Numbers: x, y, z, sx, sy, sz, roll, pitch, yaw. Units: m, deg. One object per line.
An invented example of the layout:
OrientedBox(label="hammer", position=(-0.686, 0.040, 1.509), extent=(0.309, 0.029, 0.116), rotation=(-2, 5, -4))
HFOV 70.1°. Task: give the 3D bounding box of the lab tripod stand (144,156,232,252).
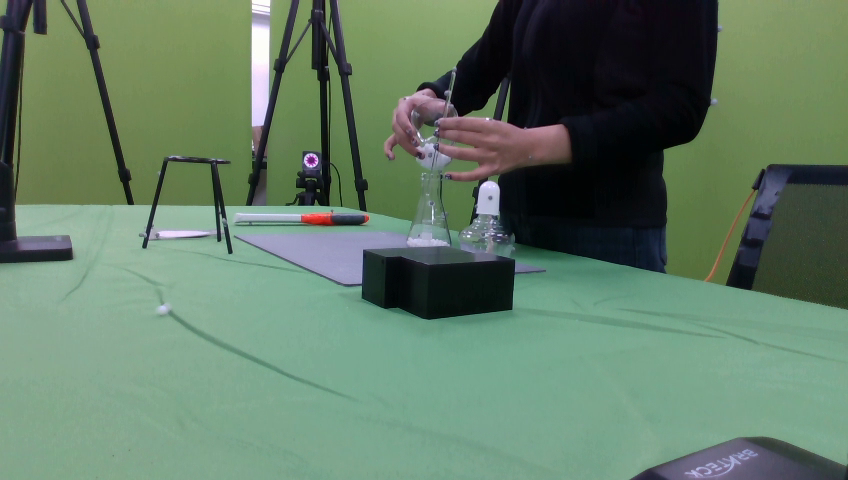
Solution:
OrientedBox(label="lab tripod stand", position=(-0.325, -0.054, 0.881), extent=(0.148, 0.131, 0.148), rotation=(4, 7, 0))

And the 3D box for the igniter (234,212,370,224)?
OrientedBox(label="igniter", position=(-0.247, -0.046, 1.253), extent=(0.278, 0.025, 0.057), rotation=(-1, -3, -27))

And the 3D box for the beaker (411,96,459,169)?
OrientedBox(label="beaker", position=(0.015, -0.167, 0.974), extent=(0.074, 0.084, 0.100), rotation=(19, -27, 11))

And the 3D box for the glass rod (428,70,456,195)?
OrientedBox(label="glass rod", position=(0.025, -0.155, 0.902), extent=(0.008, 0.199, 0.008), rotation=(8, 31, -5))

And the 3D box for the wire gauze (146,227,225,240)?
OrientedBox(label="wire gauze", position=(-0.400, -0.012, 1.019), extent=(0.122, 0.011, 0.124), rotation=(-1, 6, -26))

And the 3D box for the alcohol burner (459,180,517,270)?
OrientedBox(label="alcohol burner", position=(0.086, -0.021, 0.805), extent=(0.078, 0.119, 0.078), rotation=(3, 9, 0))

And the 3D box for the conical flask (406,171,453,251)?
OrientedBox(label="conical flask", position=(0.011, -0.046, 0.948), extent=(0.075, 0.122, 0.075), rotation=(2, 7, 0))

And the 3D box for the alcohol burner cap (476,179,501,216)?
OrientedBox(label="alcohol burner cap", position=(0.086, -0.057, 0.801), extent=(0.034, 0.048, 0.034), rotation=(4, 3, 0))
